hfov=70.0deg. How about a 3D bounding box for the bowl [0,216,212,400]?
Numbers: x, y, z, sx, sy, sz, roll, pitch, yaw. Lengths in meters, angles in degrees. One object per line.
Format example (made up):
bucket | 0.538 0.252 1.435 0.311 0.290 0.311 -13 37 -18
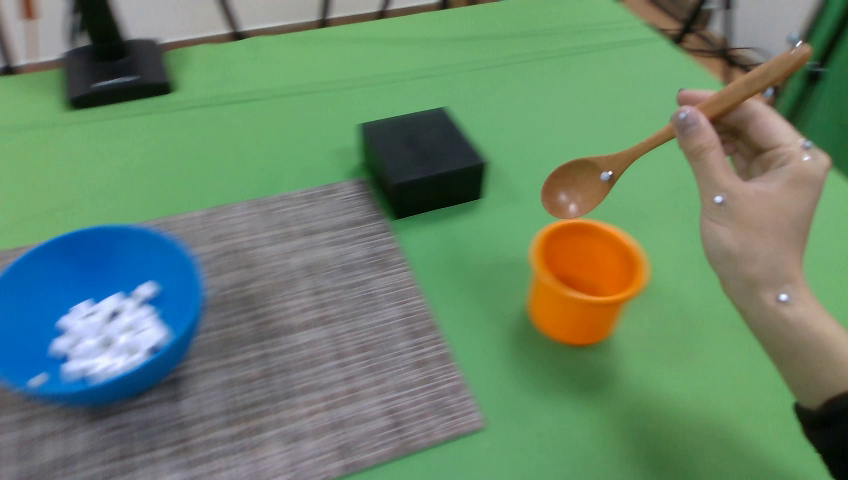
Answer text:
bowl | -0.230 0.062 0.456 0.151 0.077 0.150 2 48 -2

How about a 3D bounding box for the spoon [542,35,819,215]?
spoon | 0.148 -0.065 0.383 0.022 0.193 0.041 -19 81 -39
